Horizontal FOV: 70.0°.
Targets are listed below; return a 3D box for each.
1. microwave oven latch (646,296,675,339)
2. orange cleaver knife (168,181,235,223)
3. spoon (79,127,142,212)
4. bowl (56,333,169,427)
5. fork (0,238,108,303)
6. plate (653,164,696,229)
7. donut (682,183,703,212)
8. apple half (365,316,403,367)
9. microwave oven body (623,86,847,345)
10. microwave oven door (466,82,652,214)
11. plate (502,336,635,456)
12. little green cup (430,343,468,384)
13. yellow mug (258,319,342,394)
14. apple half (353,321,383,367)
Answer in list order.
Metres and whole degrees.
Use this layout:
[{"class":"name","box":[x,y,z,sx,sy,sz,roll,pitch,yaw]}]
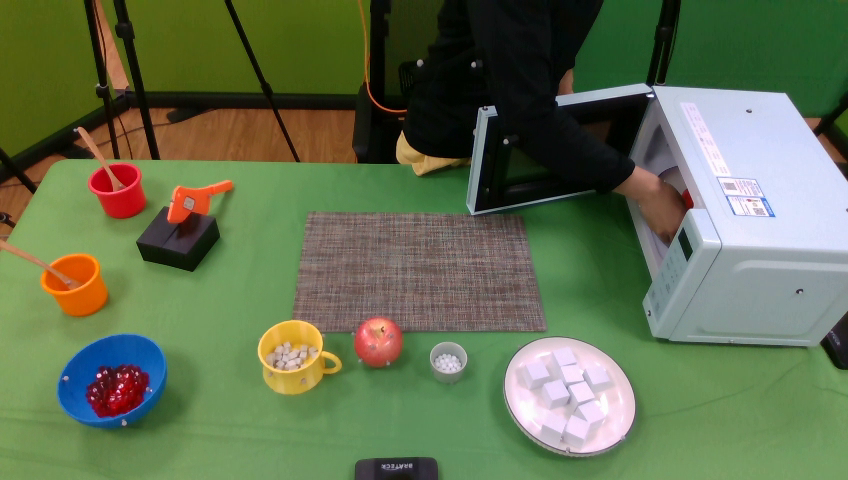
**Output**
[{"class":"microwave oven latch","box":[0.412,0.134,1.061,0.030,0.029,0.078,4,45,1]},{"class":"orange cleaver knife","box":[-0.436,-0.078,1.196,0.012,0.077,0.211,16,15,10]},{"class":"spoon","box":[-0.624,-0.140,1.203,0.041,0.021,0.194,-33,101,-25]},{"class":"bowl","box":[-0.456,0.223,0.911,0.151,0.077,0.150,3,45,-2]},{"class":"fork","box":[-0.633,0.048,1.017,0.208,0.018,0.028,40,43,-27]},{"class":"plate","box":[0.551,-0.068,1.185,0.209,0.038,0.208,2,47,-2]},{"class":"donut","box":[0.549,-0.073,1.174,0.099,0.048,0.098,2,46,-2]},{"class":"apple half","box":[-0.063,0.165,1.000,0.053,0.075,0.080,-16,45,-24]},{"class":"microwave oven body","box":[0.567,-0.053,1.118,0.326,0.261,0.439,2,45,-1]},{"class":"microwave oven door","box":[0.266,-0.183,1.216,0.356,0.245,0.039,-12,48,-15]},{"class":"plate","box":[0.225,0.248,0.963,0.208,0.039,0.206,2,46,-2]},{"class":"little green cup","box":[0.039,0.203,0.993,0.061,0.039,0.061,2,46,-2]},{"class":"yellow mug","box":[-0.195,0.189,0.972,0.131,0.064,0.099,9,46,4]},{"class":"apple half","box":[-0.097,0.177,0.984,0.033,0.081,0.081,-17,49,-24]}]
